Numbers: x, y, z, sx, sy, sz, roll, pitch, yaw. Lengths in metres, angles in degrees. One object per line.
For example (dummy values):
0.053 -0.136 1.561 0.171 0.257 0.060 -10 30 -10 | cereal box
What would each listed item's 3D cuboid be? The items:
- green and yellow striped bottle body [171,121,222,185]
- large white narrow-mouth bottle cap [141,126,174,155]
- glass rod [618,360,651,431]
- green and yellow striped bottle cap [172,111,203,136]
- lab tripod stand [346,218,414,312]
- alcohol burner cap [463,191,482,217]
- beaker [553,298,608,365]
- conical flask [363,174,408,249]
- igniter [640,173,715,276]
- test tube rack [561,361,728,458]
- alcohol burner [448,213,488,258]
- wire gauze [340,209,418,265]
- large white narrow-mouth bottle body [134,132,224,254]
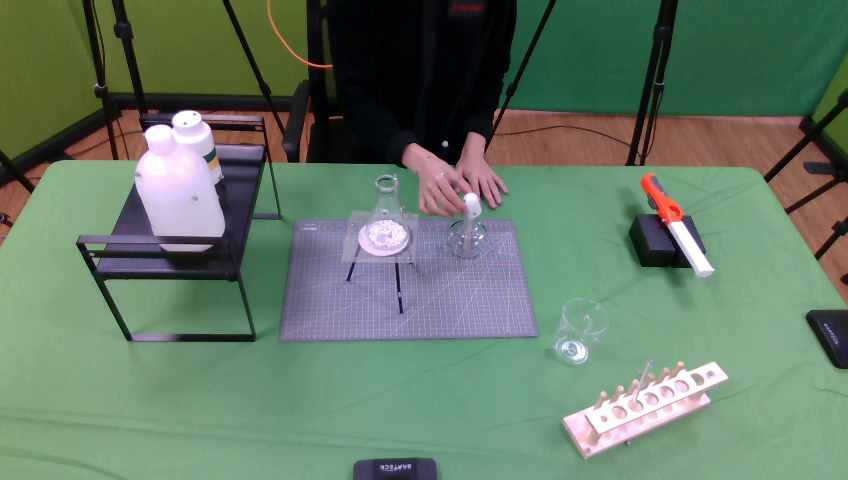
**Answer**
-0.375 -0.149 0.995 0.063 0.120 0.063 2 46 -2 | green and yellow striped bottle body
-0.356 -0.133 0.811 0.038 0.024 0.037 2 48 -2 | large white narrow-mouth bottle cap
0.298 0.227 0.865 0.008 0.201 0.008 -1 48 2 | glass rod
-0.374 -0.185 0.958 0.045 0.020 0.045 4 46 -4 | green and yellow striped bottle cap
-0.070 0.037 1.075 0.148 0.132 0.147 1 48 -1 | lab tripod stand
0.086 -0.068 1.099 0.034 0.048 0.033 -7 55 10 | alcohol burner cap
0.260 0.154 1.015 0.073 0.101 0.084 37 54 27 | beaker
-0.063 -0.050 0.985 0.075 0.122 0.075 2 46 -1 | conical flask
0.495 -0.039 1.204 0.057 0.025 0.274 -2 47 -13 | igniter
0.341 0.248 0.940 0.243 0.085 0.066 -15 49 -18 | test tube rack
0.085 -0.023 1.159 0.078 0.120 0.077 1 47 -1 | alcohol burner
-0.074 -0.006 1.024 0.121 0.011 0.124 2 48 1 | wire gauze
-0.358 -0.075 0.875 0.102 0.195 0.101 1 48 -1 | large white narrow-mouth bottle body
